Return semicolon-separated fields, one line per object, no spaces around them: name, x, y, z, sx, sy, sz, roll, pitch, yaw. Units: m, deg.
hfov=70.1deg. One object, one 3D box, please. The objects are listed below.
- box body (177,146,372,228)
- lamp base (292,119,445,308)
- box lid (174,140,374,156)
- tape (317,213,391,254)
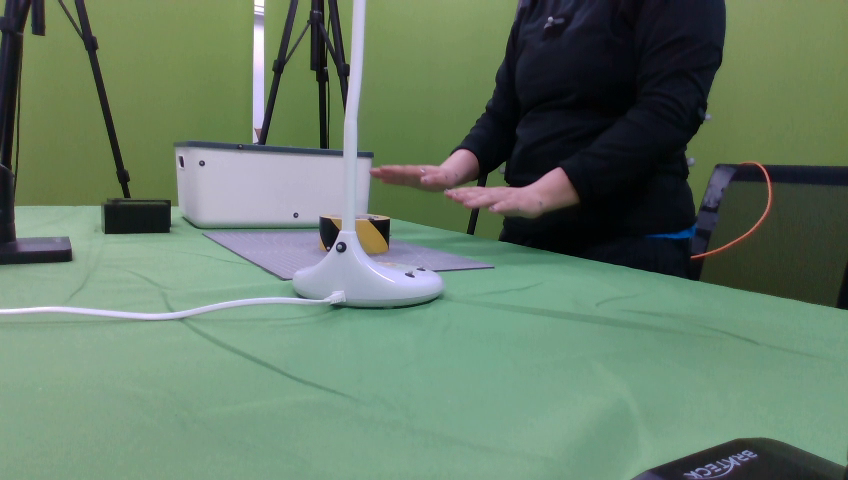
box body;-0.319;-0.118;1.279;0.366;0.160;0.253;-1;8;-29
lamp base;-0.056;-0.030;0.616;0.160;0.180;0.179;3;10;8
box lid;-0.318;-0.190;1.270;0.373;0.015;0.262;-1;8;-29
tape;-0.109;-0.012;0.938;0.117;0.052;0.117;2;7;0
